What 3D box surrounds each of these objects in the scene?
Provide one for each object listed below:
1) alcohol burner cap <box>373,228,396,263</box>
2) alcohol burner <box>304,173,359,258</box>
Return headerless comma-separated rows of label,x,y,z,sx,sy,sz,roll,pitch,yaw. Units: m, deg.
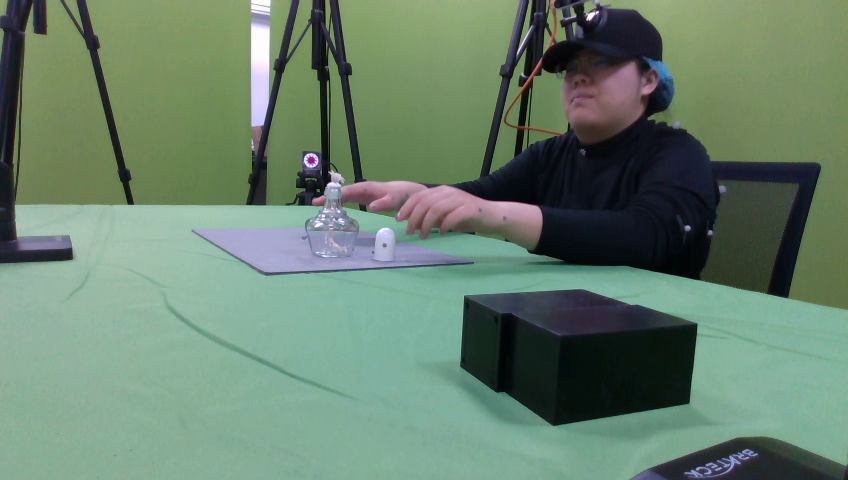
alcohol burner cap,-0.054,0.007,0.836,0.034,0.048,0.034,3,6,0
alcohol burner,-0.130,-0.035,0.851,0.078,0.119,0.078,2,5,0
